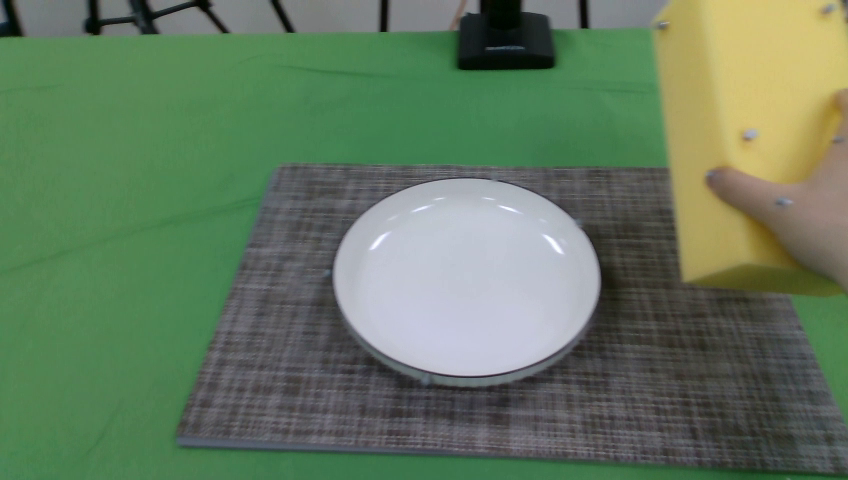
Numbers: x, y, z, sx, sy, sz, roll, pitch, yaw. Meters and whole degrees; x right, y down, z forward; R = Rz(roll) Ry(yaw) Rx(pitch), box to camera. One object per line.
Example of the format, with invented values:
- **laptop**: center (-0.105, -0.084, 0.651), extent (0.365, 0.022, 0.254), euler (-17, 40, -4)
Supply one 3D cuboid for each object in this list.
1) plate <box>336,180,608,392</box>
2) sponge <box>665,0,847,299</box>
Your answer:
- **plate**: center (0.037, 0.032, 0.479), extent (0.207, 0.039, 0.205), euler (-2, 45, 2)
- **sponge**: center (0.241, -0.069, 0.417), extent (0.118, 0.061, 0.205), euler (5, 74, -12)
